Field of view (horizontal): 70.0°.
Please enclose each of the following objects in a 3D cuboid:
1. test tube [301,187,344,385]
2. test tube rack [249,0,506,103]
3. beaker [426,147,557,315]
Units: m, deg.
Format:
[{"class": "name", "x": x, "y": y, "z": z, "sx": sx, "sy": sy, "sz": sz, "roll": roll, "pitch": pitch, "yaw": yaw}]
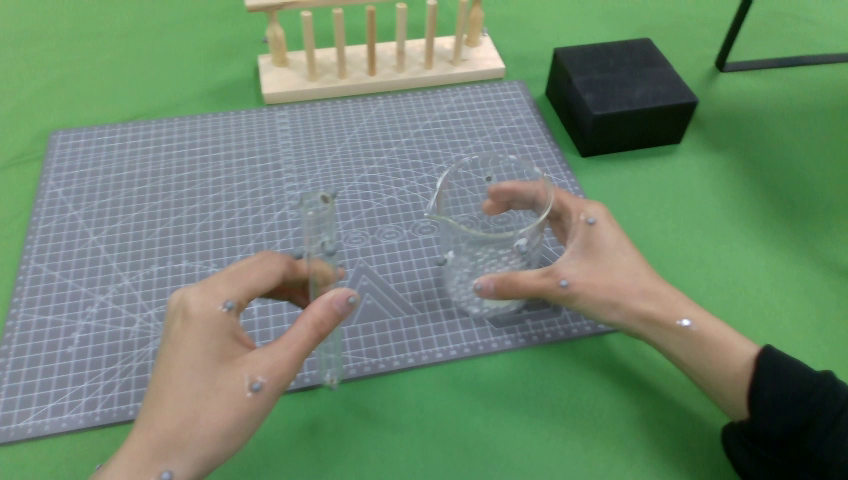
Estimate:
[{"class": "test tube", "x": -0.052, "y": 0.033, "z": 0.322, "sx": 0.017, "sy": 0.151, "sz": 0.017, "roll": 3, "pitch": 45, "yaw": -3}, {"class": "test tube rack", "x": -0.040, "y": -0.202, "z": 0.594, "sx": 0.243, "sy": 0.086, "sz": 0.066, "roll": -9, "pitch": 51, "yaw": -10}, {"class": "beaker", "x": 0.044, "y": 0.000, "z": 0.415, "sx": 0.084, "sy": 0.101, "sz": 0.073, "roll": -15, "pitch": 51, "yaw": -8}]
